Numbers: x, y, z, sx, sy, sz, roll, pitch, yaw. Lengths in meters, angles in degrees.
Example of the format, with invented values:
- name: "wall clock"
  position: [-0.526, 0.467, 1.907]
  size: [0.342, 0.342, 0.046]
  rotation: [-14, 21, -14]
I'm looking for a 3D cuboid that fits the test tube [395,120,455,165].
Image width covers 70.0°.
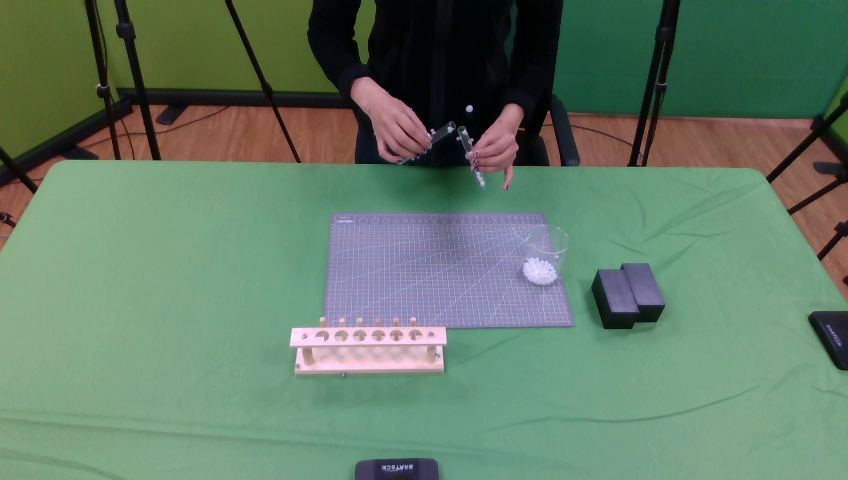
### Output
- name: "test tube"
  position: [-0.001, -0.173, 1.091]
  size: [0.017, 0.150, 0.017]
  rotation: [24, 52, -36]

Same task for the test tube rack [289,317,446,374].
- name: "test tube rack"
  position: [-0.089, 0.167, 0.988]
  size: [0.242, 0.085, 0.066]
  rotation: [0, 46, -4]

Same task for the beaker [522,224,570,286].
- name: "beaker"
  position: [0.221, 0.032, 1.129]
  size: [0.084, 0.101, 0.073]
  rotation: [-6, 46, -9]

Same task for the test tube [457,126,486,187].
- name: "test tube"
  position: [0.088, -0.149, 1.103]
  size: [0.017, 0.151, 0.017]
  rotation: [-12, 50, 15]
